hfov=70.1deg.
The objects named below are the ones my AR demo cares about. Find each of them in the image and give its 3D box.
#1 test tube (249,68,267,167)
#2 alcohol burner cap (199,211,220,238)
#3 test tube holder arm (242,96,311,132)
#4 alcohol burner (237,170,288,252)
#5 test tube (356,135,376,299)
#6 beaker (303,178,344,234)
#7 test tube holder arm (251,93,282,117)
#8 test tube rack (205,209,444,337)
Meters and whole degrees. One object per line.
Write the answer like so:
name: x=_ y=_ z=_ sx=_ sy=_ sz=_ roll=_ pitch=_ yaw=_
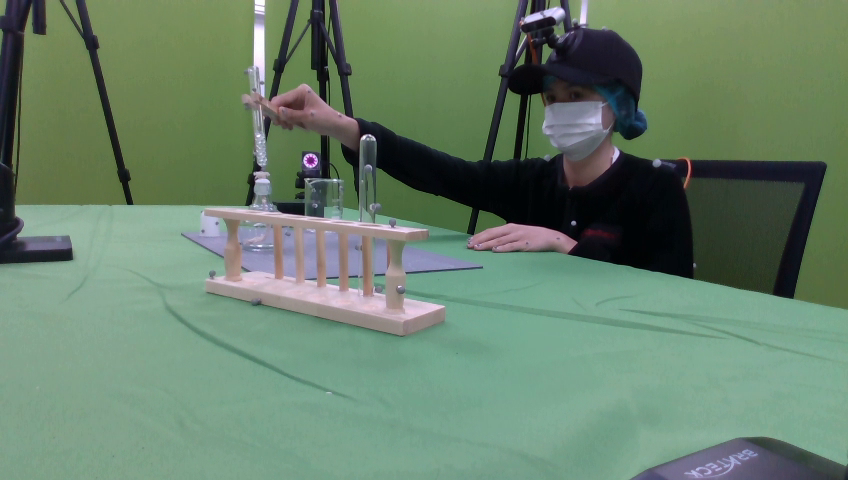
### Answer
test tube: x=-0.243 y=-0.180 z=0.886 sx=0.017 sy=0.150 sz=0.017 roll=-7 pitch=-7 yaw=-1
alcohol burner cap: x=-0.356 y=-0.027 z=1.002 sx=0.034 sy=0.048 sz=0.034 roll=2 pitch=7 yaw=0
test tube holder arm: x=-0.228 y=-0.197 z=0.955 sx=0.013 sy=0.015 sz=0.179 roll=-10 pitch=-6 yaw=18
alcohol burner: x=-0.236 y=-0.042 z=0.882 sx=0.078 sy=0.119 sz=0.078 roll=2 pitch=9 yaw=0
test tube: x=-0.053 y=-0.019 z=0.550 sx=0.017 sy=0.150 sz=0.017 roll=2 pitch=9 yaw=0
beaker: x=-0.189 y=-0.063 z=1.119 sx=0.073 sy=0.100 sz=0.084 roll=6 pitch=9 yaw=28
test tube holder arm: x=-0.235 y=-0.201 z=0.910 sx=0.010 sy=0.015 sz=0.088 roll=-9 pitch=-6 yaw=10
test tube rack: x=-0.100 y=0.021 z=0.565 sx=0.241 sy=0.085 sz=0.067 roll=7 pitch=9 yaw=32
